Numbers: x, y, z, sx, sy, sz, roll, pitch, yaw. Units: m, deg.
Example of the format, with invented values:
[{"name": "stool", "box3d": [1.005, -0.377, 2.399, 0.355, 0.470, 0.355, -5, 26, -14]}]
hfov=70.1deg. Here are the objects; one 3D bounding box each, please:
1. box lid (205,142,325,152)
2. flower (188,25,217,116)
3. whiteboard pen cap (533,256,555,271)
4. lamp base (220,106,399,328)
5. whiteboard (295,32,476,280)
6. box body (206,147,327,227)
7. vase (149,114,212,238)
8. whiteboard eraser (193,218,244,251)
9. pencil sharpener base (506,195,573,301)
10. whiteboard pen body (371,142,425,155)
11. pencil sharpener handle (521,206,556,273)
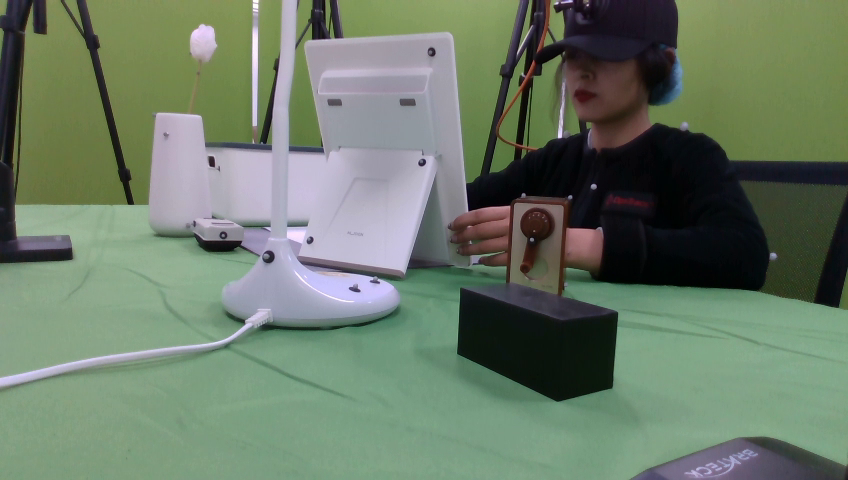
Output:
[{"name": "box lid", "box3d": [-0.270, -0.196, 1.310, 0.373, 0.015, 0.262, -2, 9, -30]}, {"name": "flower", "box3d": [-0.394, -0.189, 1.011, 0.044, 0.361, 0.038, -1, -13, 27]}, {"name": "whiteboard pen cap", "box3d": [0.166, 0.032, 0.839, 0.018, 0.018, 0.033, -1, 6, -23]}, {"name": "lamp base", "box3d": [-0.102, -0.023, 0.531, 0.160, 0.180, 0.179, 4, 10, 10]}, {"name": "whiteboard", "box3d": [-0.076, -0.084, 0.747, 0.216, 0.305, 0.144, 7, 28, 29]}, {"name": "box body", "box3d": [-0.276, -0.122, 1.320, 0.366, 0.160, 0.253, -2, 9, -30]}, {"name": "vase", "box3d": [-0.405, -0.106, 1.005, 0.098, 0.200, 0.098, 2, 6, 0]}, {"name": "whiteboard eraser", "box3d": [-0.307, -0.009, 0.900, 0.056, 0.042, 0.112, -3, 10, -29]}, {"name": "pencil sharpener base", "box3d": [0.127, 0.007, 0.662, 0.061, 0.107, 0.077, 5, 8, 15]}, {"name": "whiteboard pen body", "box3d": [-0.037, -0.132, 0.869, 0.017, 0.017, 0.141, 6, 12, 27]}, {"name": "pencil sharpener handle", "box3d": [0.111, 0.000, 0.612, 0.036, 0.067, 0.031, 13, 10, 14]}]
